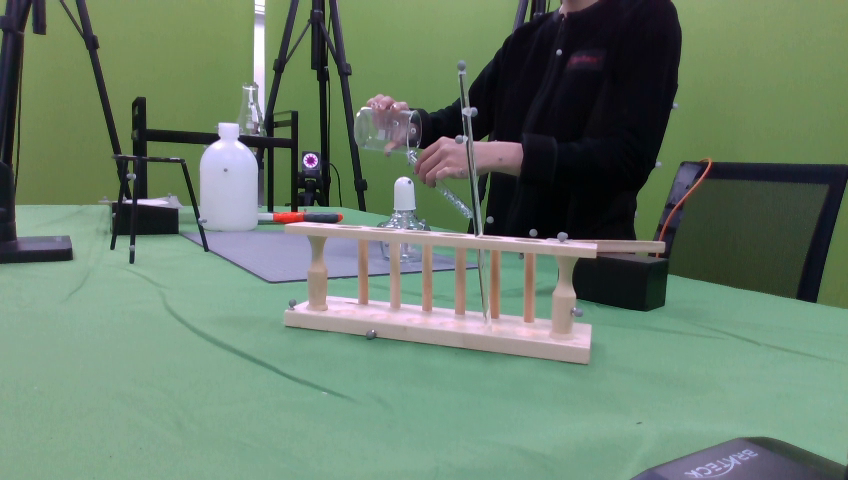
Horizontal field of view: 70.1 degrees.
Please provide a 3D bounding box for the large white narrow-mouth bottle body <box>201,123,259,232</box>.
[{"bbox_3d":[-0.358,-0.116,1.116,0.102,0.194,0.102,2,8,0],"label":"large white narrow-mouth bottle body"}]

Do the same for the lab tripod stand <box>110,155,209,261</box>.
[{"bbox_3d":[-0.361,-0.046,0.806,0.148,0.131,0.148,2,5,0],"label":"lab tripod stand"}]

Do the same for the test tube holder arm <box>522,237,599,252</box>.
[{"bbox_3d":[0.144,0.005,0.636,0.088,0.015,0.010,-1,16,-19],"label":"test tube holder arm"}]

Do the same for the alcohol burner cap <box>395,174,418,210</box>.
[{"bbox_3d":[-0.026,-0.067,0.833,0.034,0.048,0.034,-2,12,1],"label":"alcohol burner cap"}]

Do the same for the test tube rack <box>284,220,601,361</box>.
[{"bbox_3d":[0.013,0.032,0.482,0.242,0.085,0.067,4,7,16],"label":"test tube rack"}]

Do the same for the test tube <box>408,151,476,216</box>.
[{"bbox_3d":[0.029,-0.093,0.986,0.150,0.017,0.017,45,22,14],"label":"test tube"}]

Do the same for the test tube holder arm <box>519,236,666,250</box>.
[{"bbox_3d":[0.186,0.003,0.656,0.179,0.015,0.013,-1,16,-19],"label":"test tube holder arm"}]

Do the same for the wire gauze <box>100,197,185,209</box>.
[{"bbox_3d":[-0.469,-0.062,1.008,0.126,0.011,0.121,-2,8,-25],"label":"wire gauze"}]

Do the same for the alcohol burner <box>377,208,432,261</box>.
[{"bbox_3d":[-0.027,-0.031,0.838,0.078,0.119,0.078,0,6,0],"label":"alcohol burner"}]

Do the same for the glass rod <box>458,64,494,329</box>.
[{"bbox_3d":[0.040,-0.029,0.449,0.008,0.199,0.008,-7,9,1],"label":"glass rod"}]

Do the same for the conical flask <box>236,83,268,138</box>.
[{"bbox_3d":[-0.400,-0.298,1.396,0.075,0.122,0.075,2,8,0],"label":"conical flask"}]

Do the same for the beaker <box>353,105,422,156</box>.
[{"bbox_3d":[-0.062,-0.186,1.013,0.100,0.084,0.074,8,9,16],"label":"beaker"}]

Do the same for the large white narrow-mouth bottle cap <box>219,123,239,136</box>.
[{"bbox_3d":[-0.356,-0.201,1.105,0.038,0.024,0.037,2,8,0],"label":"large white narrow-mouth bottle cap"}]

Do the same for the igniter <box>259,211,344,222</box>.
[{"bbox_3d":[-0.302,-0.048,1.249,0.278,0.025,0.057,-2,-2,-27],"label":"igniter"}]
